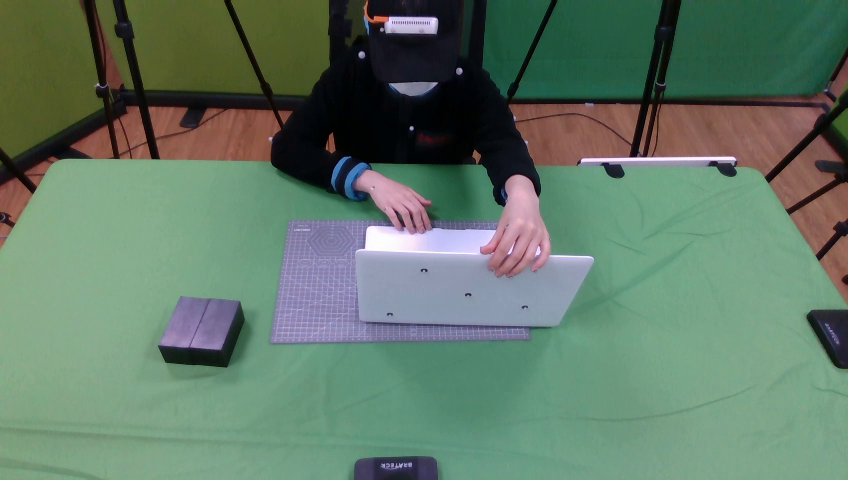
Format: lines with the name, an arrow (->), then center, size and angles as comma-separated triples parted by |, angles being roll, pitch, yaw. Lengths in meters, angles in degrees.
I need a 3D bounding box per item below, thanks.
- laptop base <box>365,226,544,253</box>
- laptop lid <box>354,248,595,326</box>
laptop base -> 0.061, 0.064, 1.145 | 0.354, 0.023, 0.234 | 2, 43, -3
laptop lid -> 0.069, 0.082, 0.963 | 0.357, 0.243, 0.013 | 2, 56, -4
